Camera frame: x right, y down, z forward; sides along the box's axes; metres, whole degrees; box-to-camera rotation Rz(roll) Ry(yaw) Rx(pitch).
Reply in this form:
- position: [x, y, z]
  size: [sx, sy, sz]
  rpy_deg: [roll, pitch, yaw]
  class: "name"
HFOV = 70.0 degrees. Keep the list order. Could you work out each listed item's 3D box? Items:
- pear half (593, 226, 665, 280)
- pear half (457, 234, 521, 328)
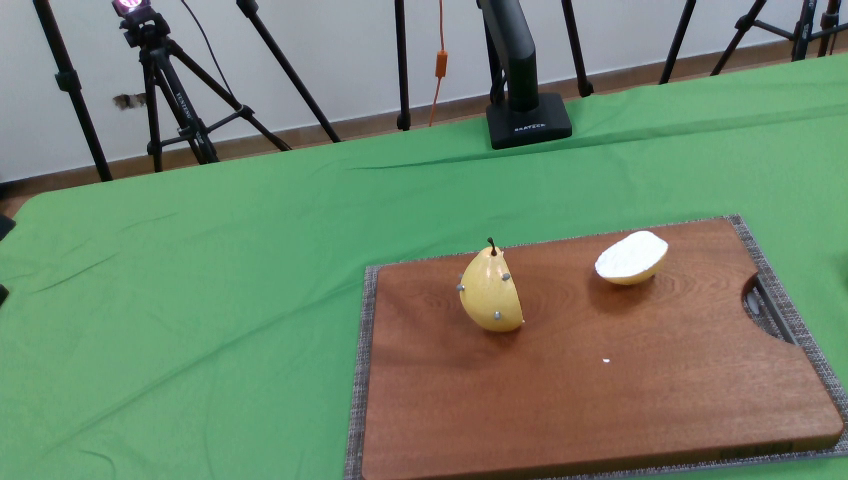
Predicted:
- position: [0.215, 0.019, 0.627]
  size: [0.070, 0.031, 0.088]
  rpy_deg: [-1, 27, 38]
  class: "pear half"
- position: [0.058, 0.039, 0.591]
  size: [0.056, 0.111, 0.075]
  rpy_deg: [-21, 38, -7]
  class: "pear half"
